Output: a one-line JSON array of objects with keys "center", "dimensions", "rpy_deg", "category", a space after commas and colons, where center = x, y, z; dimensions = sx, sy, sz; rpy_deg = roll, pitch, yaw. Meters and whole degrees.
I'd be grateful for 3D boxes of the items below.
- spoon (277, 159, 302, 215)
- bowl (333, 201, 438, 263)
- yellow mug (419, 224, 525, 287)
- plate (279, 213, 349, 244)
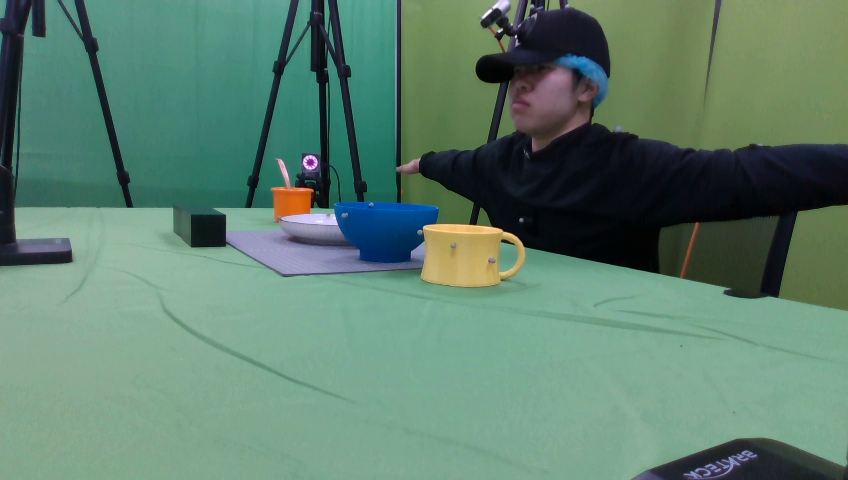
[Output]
[{"center": [-0.308, -0.117, 1.368], "dimensions": [0.042, 0.193, 0.021], "rpy_deg": [3, -39, -32], "category": "spoon"}, {"center": [-0.056, -0.011, 0.866], "dimensions": [0.151, 0.077, 0.151], "rpy_deg": [3, 8, 0], "category": "bowl"}, {"center": [0.060, 0.018, 0.746], "dimensions": [0.131, 0.064, 0.100], "rpy_deg": [3, 7, -7], "category": "yellow mug"}, {"center": [-0.147, -0.020, 1.060], "dimensions": [0.209, 0.038, 0.209], "rpy_deg": [2, 7, 0], "category": "plate"}]
